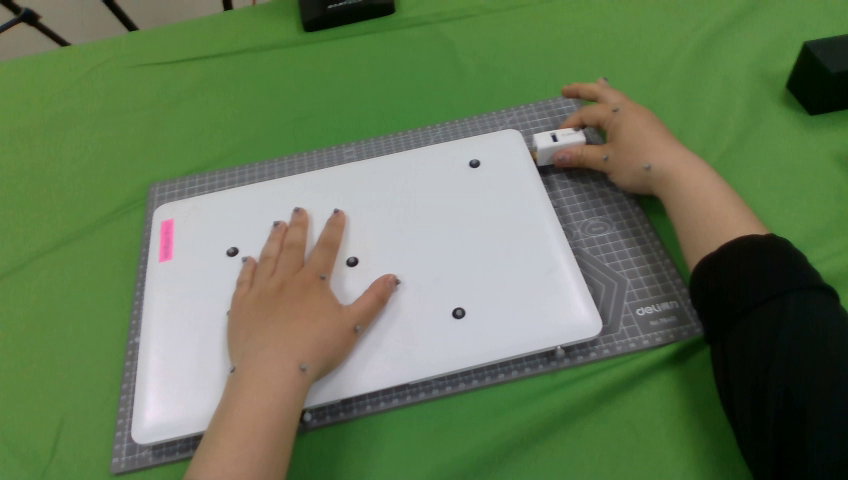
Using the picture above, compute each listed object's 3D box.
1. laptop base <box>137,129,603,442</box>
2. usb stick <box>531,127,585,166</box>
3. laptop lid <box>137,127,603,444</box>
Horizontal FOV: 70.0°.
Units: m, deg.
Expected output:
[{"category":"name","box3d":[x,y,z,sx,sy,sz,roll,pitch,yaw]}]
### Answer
[{"category":"laptop base","box3d":[-0.057,0.023,0.515,0.354,0.023,0.233,-13,55,-2]},{"category":"usb stick","box3d":[0.117,-0.086,0.562,0.059,0.027,0.021,-11,46,2]},{"category":"laptop lid","box3d":[-0.058,0.019,0.506,0.357,0.013,0.239,-11,54,-1]}]
